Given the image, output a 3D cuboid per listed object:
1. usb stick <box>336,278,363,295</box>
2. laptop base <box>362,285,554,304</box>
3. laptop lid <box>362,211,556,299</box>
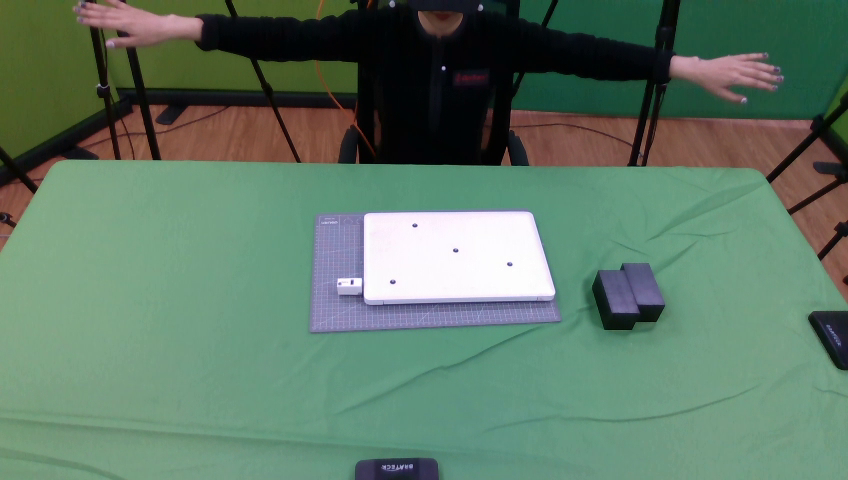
[{"bbox_3d":[-0.128,0.083,1.094,0.059,0.027,0.021,2,44,-5],"label":"usb stick"},{"bbox_3d":[0.059,0.032,1.174,0.355,0.023,0.234,-1,43,-5],"label":"laptop base"},{"bbox_3d":[0.059,0.022,1.167,0.357,0.013,0.240,0,44,-4],"label":"laptop lid"}]
